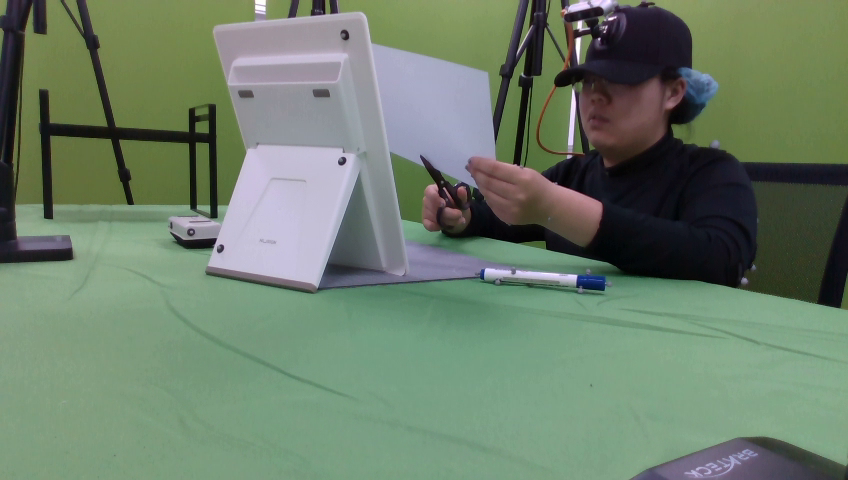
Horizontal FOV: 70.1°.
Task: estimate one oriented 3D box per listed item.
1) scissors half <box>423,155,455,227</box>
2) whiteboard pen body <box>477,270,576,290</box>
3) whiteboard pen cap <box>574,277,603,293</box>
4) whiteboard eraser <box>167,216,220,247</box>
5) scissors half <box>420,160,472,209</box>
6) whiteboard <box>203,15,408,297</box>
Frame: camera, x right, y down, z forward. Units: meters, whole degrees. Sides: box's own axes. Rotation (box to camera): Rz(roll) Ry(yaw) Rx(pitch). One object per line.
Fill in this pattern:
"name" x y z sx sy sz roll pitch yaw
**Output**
"scissors half" 0.021 -0.075 0.966 0.040 0.175 0.013 -44 56 -17
"whiteboard pen body" 0.131 0.048 0.706 0.140 0.017 0.017 4 7 18
"whiteboard pen cap" 0.186 0.051 0.687 0.033 0.018 0.018 5 8 17
"whiteboard eraser" -0.350 -0.013 0.920 0.056 0.042 0.112 0 7 -35
"scissors half" 0.035 -0.091 0.968 0.012 0.040 0.176 41 7 33
"whiteboard" -0.166 -0.072 0.668 0.216 0.305 0.144 8 30 30
